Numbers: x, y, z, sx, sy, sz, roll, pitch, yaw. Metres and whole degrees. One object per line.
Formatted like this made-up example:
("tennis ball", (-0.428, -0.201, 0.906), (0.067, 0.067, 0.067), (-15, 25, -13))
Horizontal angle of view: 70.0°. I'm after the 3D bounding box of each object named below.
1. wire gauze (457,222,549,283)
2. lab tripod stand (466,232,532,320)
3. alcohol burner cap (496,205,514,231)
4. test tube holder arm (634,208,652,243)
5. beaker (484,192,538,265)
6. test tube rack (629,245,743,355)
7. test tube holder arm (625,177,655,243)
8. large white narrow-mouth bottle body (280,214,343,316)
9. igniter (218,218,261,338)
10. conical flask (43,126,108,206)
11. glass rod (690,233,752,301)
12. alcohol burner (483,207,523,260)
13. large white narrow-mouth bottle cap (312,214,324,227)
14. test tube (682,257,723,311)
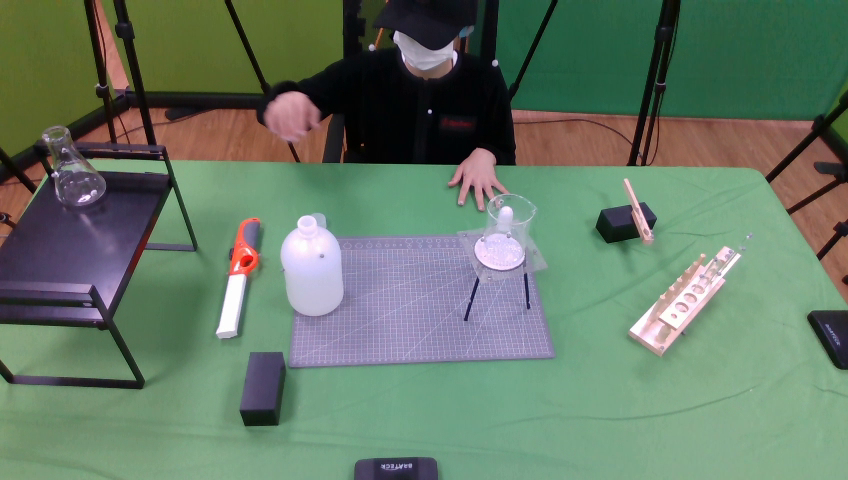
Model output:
("wire gauze", (0.131, 0.016, 1.017), (0.121, 0.011, 0.124), (-10, 44, -16))
("lab tripod stand", (0.125, 0.059, 1.065), (0.148, 0.132, 0.147), (1, 45, 0))
("alcohol burner cap", (0.153, -0.045, 1.131), (0.034, 0.048, 0.033), (2, 40, -1))
("test tube holder arm", (0.428, -0.030, 1.189), (0.010, 0.015, 0.087), (2, 47, -2))
("beaker", (0.137, -0.016, 0.980), (0.084, 0.101, 0.073), (-6, 45, -9))
("test tube rack", (0.474, 0.095, 1.091), (0.242, 0.085, 0.066), (-34, 56, -31))
("test tube holder arm", (0.433, -0.062, 1.220), (0.013, 0.015, 0.177), (1, 47, -3))
("large white narrow-mouth bottle body", (-0.190, 0.035, 1.025), (0.102, 0.195, 0.101), (2, 46, -2))
("igniter", (-0.336, 0.060, 1.111), (0.057, 0.025, 0.274), (-7, 46, 4))
("conical flask", (-0.555, -0.119, 0.953), (0.075, 0.122, 0.075), (2, 46, -2))
("glass rod", (0.507, 0.053, 1.041), (0.008, 0.200, 0.008), (5, 51, -6))
("alcohol burner", (0.152, -0.018, 1.156), (0.078, 0.120, 0.077), (0, 47, 0))
("large white narrow-mouth bottle cap", (-0.219, -0.033, 1.214), (0.038, 0.024, 0.037), (2, 46, -2))
("test tube", (0.475, 0.080, 1.037), (0.017, 0.151, 0.017), (1, 50, -1))
